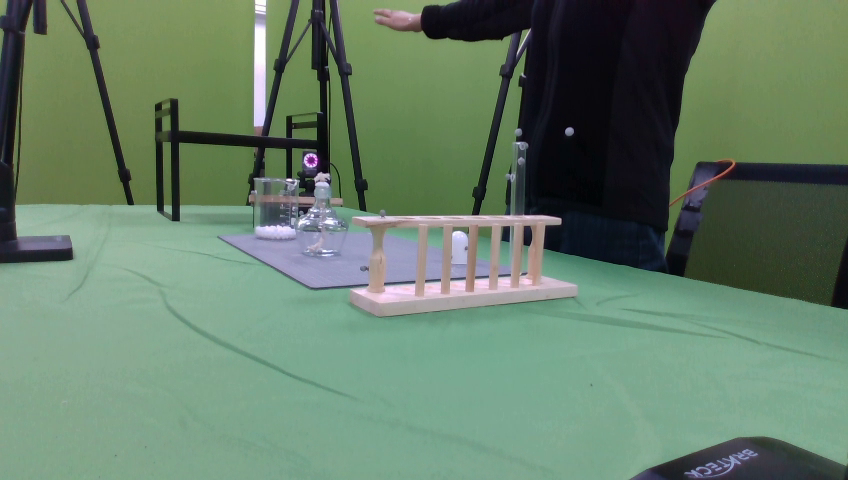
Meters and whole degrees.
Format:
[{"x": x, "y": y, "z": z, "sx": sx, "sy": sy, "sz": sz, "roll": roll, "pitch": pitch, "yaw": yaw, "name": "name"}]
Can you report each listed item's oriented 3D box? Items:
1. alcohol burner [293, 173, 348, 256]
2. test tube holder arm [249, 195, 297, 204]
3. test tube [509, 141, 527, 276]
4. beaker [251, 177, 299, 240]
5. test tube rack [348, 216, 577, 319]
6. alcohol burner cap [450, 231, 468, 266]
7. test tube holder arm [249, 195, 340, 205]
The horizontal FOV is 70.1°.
[{"x": -0.146, "y": -0.036, "z": 0.859, "sx": 0.078, "sy": 0.119, "sz": 0.078, "roll": 4, "pitch": 8, "yaw": 0, "name": "alcohol burner"}, {"x": -0.284, "y": -0.076, "z": 1.141, "sx": 0.088, "sy": 0.015, "sz": 0.010, "roll": 0, "pitch": 9, "yaw": -29, "name": "test tube holder arm"}, {"x": 0.102, "y": -0.032, "z": 0.662, "sx": 0.017, "sy": 0.150, "sz": 0.017, "roll": 0, "pitch": 11, "yaw": 0, "name": "test tube"}, {"x": -0.245, "y": -0.052, "z": 1.004, "sx": 0.083, "sy": 0.100, "sz": 0.074, "roll": 9, "pitch": 10, "yaw": 36, "name": "beaker"}, {"x": 0.048, "y": 0.021, "z": 0.619, "sx": 0.244, "sy": 0.085, "sz": 0.066, "roll": -2, "pitch": 9, "yaw": -31, "name": "test tube rack"}, {"x": 0.046, "y": 0.011, "z": 0.838, "sx": 0.034, "sy": 0.048, "sz": 0.034, "roll": 2, "pitch": 6, "yaw": 0, "name": "alcohol burner cap"}, {"x": -0.247, "y": -0.077, "z": 1.168, "sx": 0.179, "sy": 0.015, "sz": 0.013, "roll": 0, "pitch": 9, "yaw": -31, "name": "test tube holder arm"}]
